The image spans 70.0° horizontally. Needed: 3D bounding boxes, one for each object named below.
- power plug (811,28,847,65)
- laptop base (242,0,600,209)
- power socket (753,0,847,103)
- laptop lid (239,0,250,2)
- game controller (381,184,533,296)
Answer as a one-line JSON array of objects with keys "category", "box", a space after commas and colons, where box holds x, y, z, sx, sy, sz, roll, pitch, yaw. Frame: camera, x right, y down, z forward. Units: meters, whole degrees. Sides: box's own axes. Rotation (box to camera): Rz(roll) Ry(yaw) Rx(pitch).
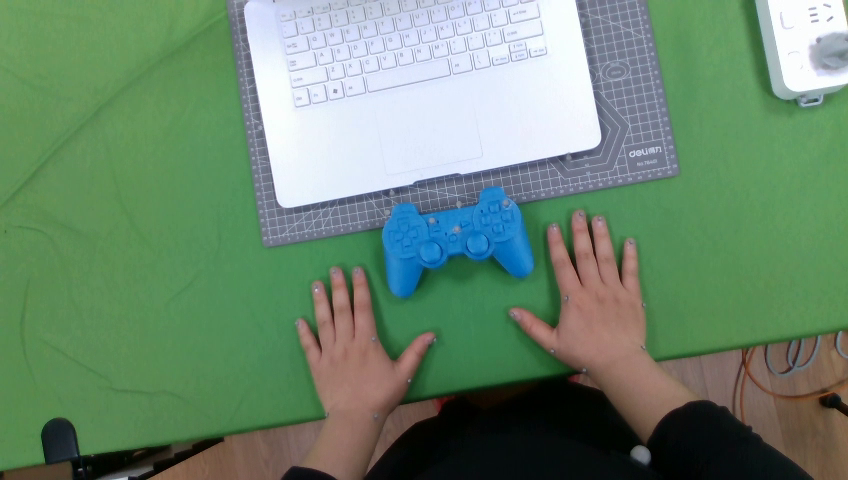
[{"category": "power plug", "box": [0.412, -0.186, 0.582, 0.072, 0.053, 0.035, 3, 87, 2]}, {"category": "laptop base", "box": [-0.009, -0.180, 0.653, 0.354, 0.023, 0.235, -11, 89, 5]}, {"category": "power socket", "box": [0.373, -0.253, 0.609, 0.072, 0.032, 0.226, -9, 86, 6]}, {"category": "laptop lid", "box": [-0.048, -0.320, 0.545, 0.356, 0.243, 0.013, -12, 77, 7]}, {"category": "game controller", "box": [0.030, -0.001, 0.625, 0.155, 0.052, 0.097, -10, 83, 5]}]
